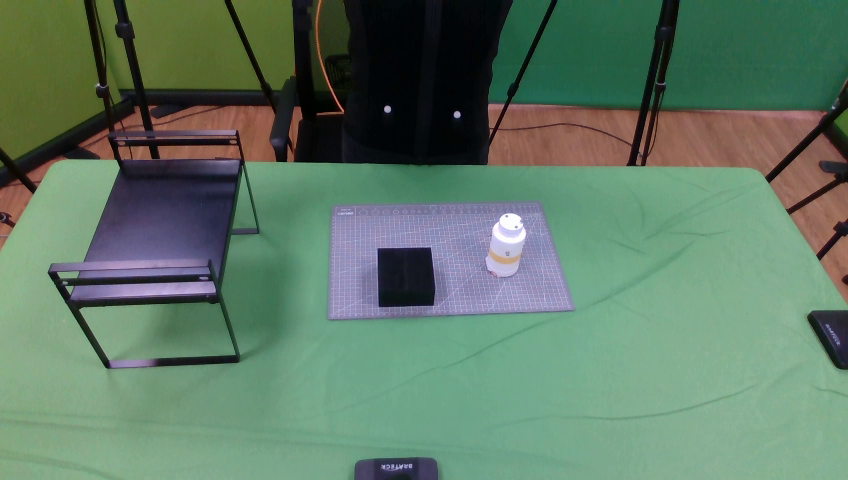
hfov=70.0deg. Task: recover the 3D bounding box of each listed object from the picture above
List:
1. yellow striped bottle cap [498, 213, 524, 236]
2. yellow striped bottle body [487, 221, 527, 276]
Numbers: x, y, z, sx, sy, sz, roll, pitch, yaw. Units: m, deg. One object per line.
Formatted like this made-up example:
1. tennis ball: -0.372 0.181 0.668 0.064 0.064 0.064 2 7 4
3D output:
1. yellow striped bottle cap: 0.157 -0.029 1.089 0.044 0.019 0.044 4 44 -4
2. yellow striped bottle body: 0.155 0.007 1.128 0.063 0.121 0.062 2 46 -2
